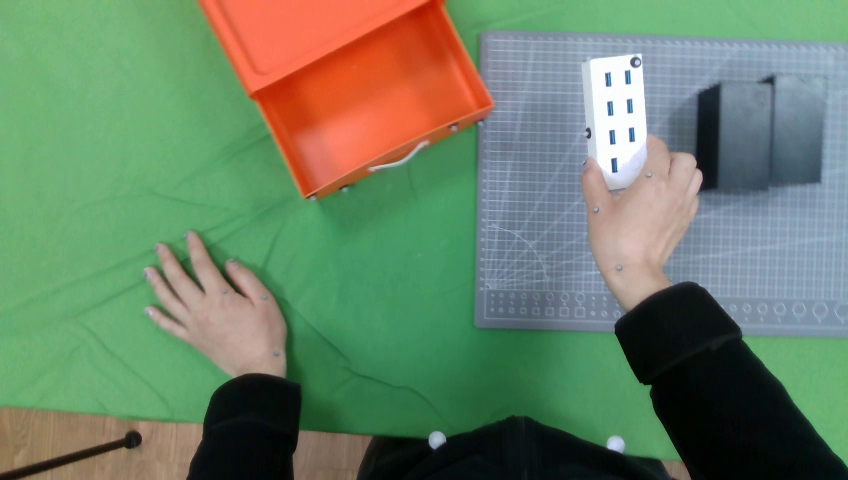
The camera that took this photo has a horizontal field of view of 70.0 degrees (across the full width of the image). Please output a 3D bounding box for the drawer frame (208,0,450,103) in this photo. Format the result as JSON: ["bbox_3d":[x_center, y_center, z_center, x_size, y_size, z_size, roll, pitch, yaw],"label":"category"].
[{"bbox_3d":[-0.110,-0.269,0.561,0.201,0.082,0.213,-28,92,0],"label":"drawer frame"}]

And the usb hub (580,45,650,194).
[{"bbox_3d":[0.173,-0.107,0.544,0.049,0.025,0.125,-9,101,-7],"label":"usb hub"}]

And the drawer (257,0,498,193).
[{"bbox_3d":[-0.064,-0.177,0.570,0.194,0.073,0.212,-26,92,0],"label":"drawer"}]
